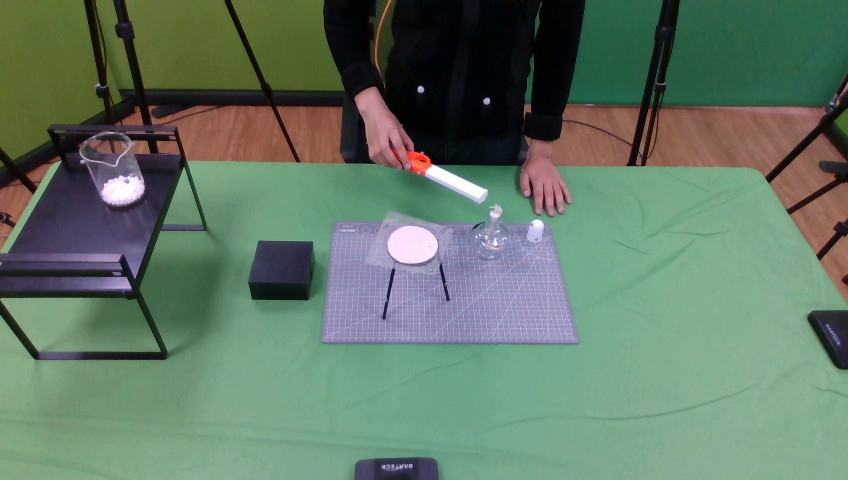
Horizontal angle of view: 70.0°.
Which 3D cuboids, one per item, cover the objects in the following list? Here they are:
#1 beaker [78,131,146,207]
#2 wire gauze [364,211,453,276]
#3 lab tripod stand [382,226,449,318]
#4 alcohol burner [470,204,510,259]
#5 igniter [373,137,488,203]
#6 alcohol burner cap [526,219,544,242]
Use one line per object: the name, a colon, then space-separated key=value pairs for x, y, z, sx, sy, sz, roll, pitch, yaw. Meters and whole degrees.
beaker: x=-0.488 y=-0.108 z=0.961 sx=0.074 sy=0.101 sz=0.083 roll=-25 pitch=54 yaw=-25
wire gauze: x=-0.024 y=0.006 z=1.016 sx=0.121 sy=0.011 sz=0.124 roll=14 pitch=48 yaw=9
lab tripod stand: x=-0.024 y=0.055 z=1.063 sx=0.148 sy=0.132 sz=0.147 roll=2 pitch=48 yaw=-2
alcohol burner: x=0.129 y=-0.021 z=1.161 sx=0.078 sy=0.119 sz=0.077 roll=2 pitch=44 yaw=-2
igniter: x=0.003 y=-0.140 z=1.178 sx=0.275 sy=0.025 sz=0.057 roll=29 pitch=52 yaw=27
alcohol burner cap: x=0.225 y=-0.021 z=1.218 sx=0.034 sy=0.048 sz=0.033 roll=2 pitch=46 yaw=-1
